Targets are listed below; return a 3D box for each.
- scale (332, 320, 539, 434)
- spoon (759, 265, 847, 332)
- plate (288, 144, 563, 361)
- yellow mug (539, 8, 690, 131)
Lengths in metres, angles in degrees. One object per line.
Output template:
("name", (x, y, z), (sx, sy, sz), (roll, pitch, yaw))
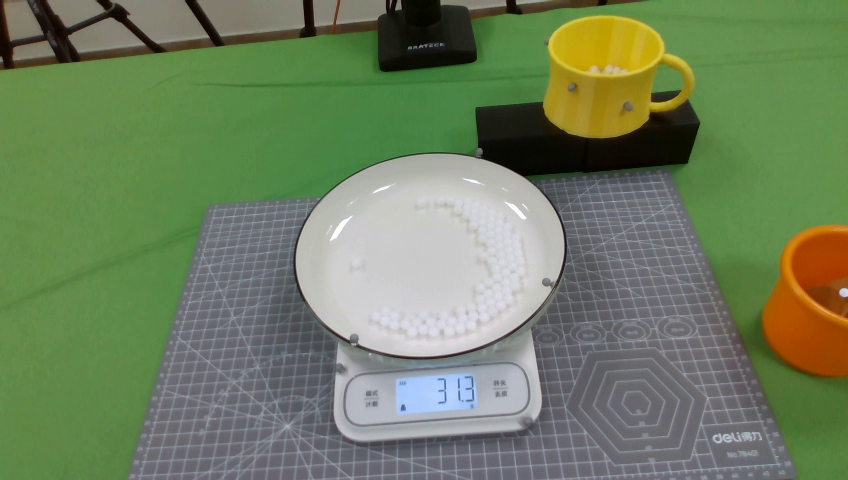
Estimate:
("scale", (0.005, 0.049, 0.478), (0.148, 0.032, 0.199), (-5, 50, 2))
("spoon", (0.322, 0.007, 0.409), (0.022, 0.194, 0.041), (26, 38, -31))
("plate", (0.001, 0.006, 0.472), (0.209, 0.038, 0.207), (-2, 50, 3))
("yellow mug", (0.172, -0.154, 0.550), (0.130, 0.064, 0.099), (12, 53, 15))
